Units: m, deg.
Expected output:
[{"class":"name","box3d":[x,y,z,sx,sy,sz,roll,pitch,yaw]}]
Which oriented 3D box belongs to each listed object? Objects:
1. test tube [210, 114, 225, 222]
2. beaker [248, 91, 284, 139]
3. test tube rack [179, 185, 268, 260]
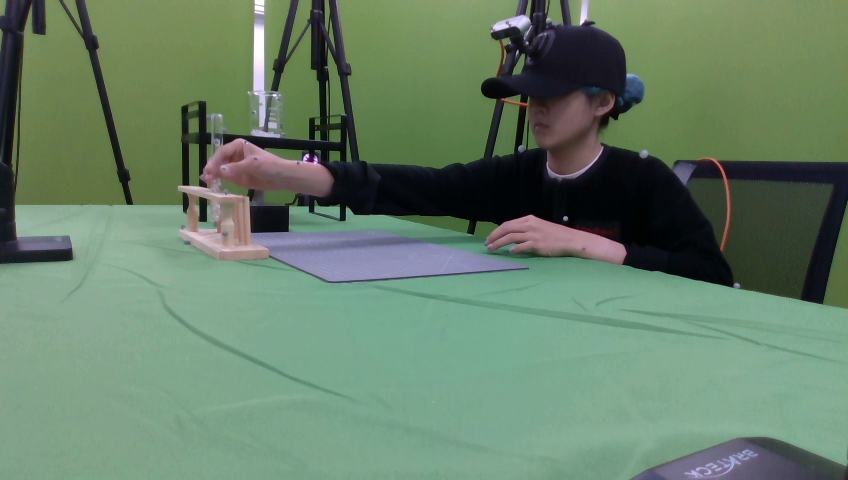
[{"class":"test tube","box3d":[-0.290,-0.100,0.848,0.017,0.150,0.017,4,6,0]},{"class":"beaker","box3d":[-0.353,-0.277,1.343,0.073,0.100,0.084,8,9,39]},{"class":"test tube rack","box3d":[-0.303,-0.031,0.898,0.067,0.085,0.241,-2,9,-33]}]
